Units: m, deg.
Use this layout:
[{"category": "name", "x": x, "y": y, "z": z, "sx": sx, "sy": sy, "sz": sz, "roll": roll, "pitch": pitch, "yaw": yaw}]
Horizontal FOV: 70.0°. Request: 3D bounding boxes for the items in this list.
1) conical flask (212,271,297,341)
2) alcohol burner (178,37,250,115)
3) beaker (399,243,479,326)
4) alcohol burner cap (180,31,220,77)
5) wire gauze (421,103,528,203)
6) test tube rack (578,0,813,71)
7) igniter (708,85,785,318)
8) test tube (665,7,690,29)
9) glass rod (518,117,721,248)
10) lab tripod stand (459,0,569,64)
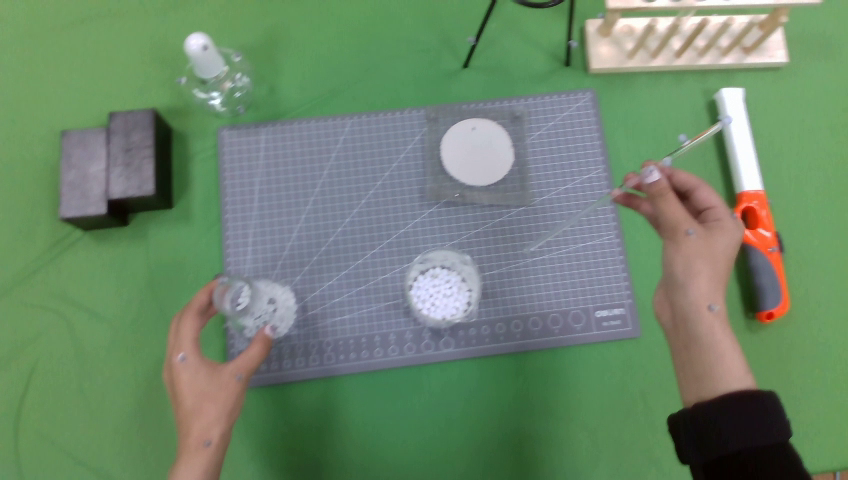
[{"category": "conical flask", "x": -0.174, "y": 0.060, "z": 0.605, "sx": 0.075, "sy": 0.122, "sz": 0.075, "roll": 0, "pitch": 77, "yaw": -1}, {"category": "alcohol burner", "x": -0.236, "y": -0.186, "z": 0.665, "sx": 0.078, "sy": 0.119, "sz": 0.077, "roll": 0, "pitch": 78, "yaw": 0}, {"category": "beaker", "x": 0.017, "y": 0.052, "z": 0.624, "sx": 0.074, "sy": 0.100, "sz": 0.083, "roll": -42, "pitch": 82, "yaw": -9}, {"category": "alcohol burner cap", "x": -0.235, "y": -0.197, "z": 0.630, "sx": 0.034, "sy": 0.048, "sz": 0.033, "roll": 1, "pitch": 71, "yaw": -1}, {"category": "wire gauze", "x": 0.059, "y": -0.104, "z": 0.707, "sx": 0.125, "sy": 0.011, "sz": 0.121, "roll": 2, "pitch": 77, "yaw": -4}, {"category": "test tube rack", "x": 0.314, "y": -0.253, "z": 0.710, "sx": 0.242, "sy": 0.085, "sz": 0.066, "roll": -3, "pitch": 77, "yaw": -2}, {"category": "igniter", "x": 0.370, "y": -0.048, "z": 0.697, "sx": 0.057, "sy": 0.025, "sz": 0.275, "roll": -3, "pitch": 78, "yaw": -12}, {"category": "test tube", "x": 0.297, "y": -0.278, "z": 0.665, "sx": 0.017, "sy": 0.151, "sz": 0.017, "roll": 0, "pitch": 77, "yaw": 1}, {"category": "glass rod", "x": 0.158, "y": -0.044, "z": 0.517, "sx": 0.200, "sy": 0.008, "sz": 0.008, "roll": -36, "pitch": 77, "yaw": 31}, {"category": "lab tripod stand", "x": 0.107, "y": -0.264, "z": 0.682, "sx": 0.148, "sy": 0.132, "sz": 0.148, "roll": 0, "pitch": 79, "yaw": -1}]
